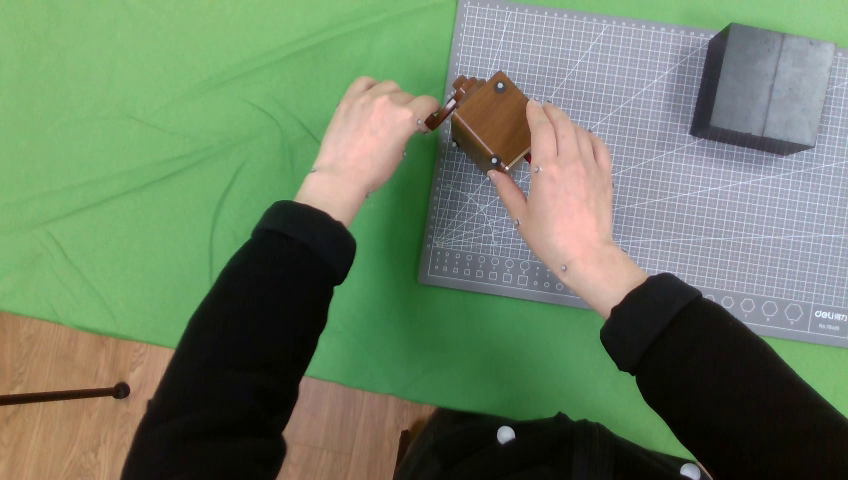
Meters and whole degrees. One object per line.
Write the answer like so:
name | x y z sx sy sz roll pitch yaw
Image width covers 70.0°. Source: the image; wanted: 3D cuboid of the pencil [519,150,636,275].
pencil | 0.123 -0.041 0.547 0.012 0.012 0.194 -43 91 1

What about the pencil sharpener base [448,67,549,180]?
pencil sharpener base | 0.065 -0.107 0.572 0.061 0.107 0.076 -43 88 1

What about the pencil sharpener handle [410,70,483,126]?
pencil sharpener handle | 0.019 -0.136 0.550 0.068 0.036 0.030 -43 88 21
